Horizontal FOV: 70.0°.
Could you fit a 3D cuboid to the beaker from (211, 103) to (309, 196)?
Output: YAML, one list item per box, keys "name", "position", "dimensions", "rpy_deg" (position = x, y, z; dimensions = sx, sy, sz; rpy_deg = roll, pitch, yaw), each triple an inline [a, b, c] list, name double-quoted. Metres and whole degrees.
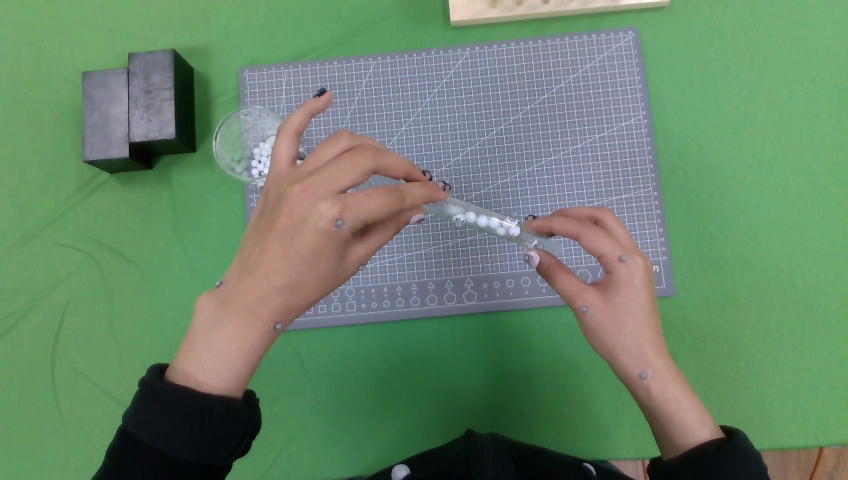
- name: "beaker"
  position: [-0.160, -0.089, 0.623]
  dimensions: [0.084, 0.100, 0.074]
  rpy_deg: [-13, 83, 0]

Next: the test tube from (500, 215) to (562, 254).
- name: "test tube"
  position: [0.089, -0.002, 0.483]
  dimensions: [0.017, 0.151, 0.017]
  rpy_deg: [-3, 83, 24]

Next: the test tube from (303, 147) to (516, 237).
- name: "test tube"
  position: [-0.010, -0.033, 0.409]
  dimensions: [0.150, 0.017, 0.017]
  rpy_deg: [19, 84, -2]

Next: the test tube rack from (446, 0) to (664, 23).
- name: "test tube rack"
  position: [0.143, -0.294, 0.645]
  dimensions: [0.242, 0.085, 0.066]
  rpy_deg: [-5, 82, 2]
